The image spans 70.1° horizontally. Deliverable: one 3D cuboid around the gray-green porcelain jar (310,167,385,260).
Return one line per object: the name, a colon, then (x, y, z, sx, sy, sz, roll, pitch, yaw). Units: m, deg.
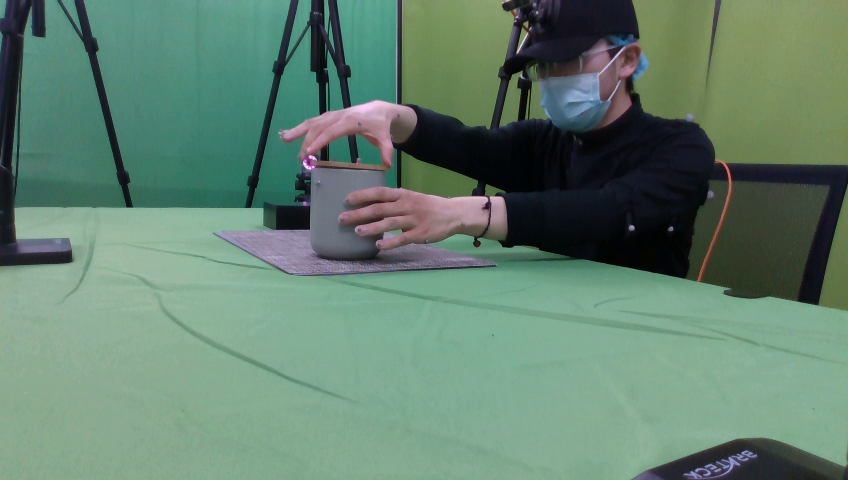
gray-green porcelain jar: (-0.109, -0.040, 0.859, 0.106, 0.126, 0.106, 2, 7, 0)

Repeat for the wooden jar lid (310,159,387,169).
wooden jar lid: (-0.107, -0.101, 0.851, 0.108, 0.020, 0.108, 4, 6, 0)
